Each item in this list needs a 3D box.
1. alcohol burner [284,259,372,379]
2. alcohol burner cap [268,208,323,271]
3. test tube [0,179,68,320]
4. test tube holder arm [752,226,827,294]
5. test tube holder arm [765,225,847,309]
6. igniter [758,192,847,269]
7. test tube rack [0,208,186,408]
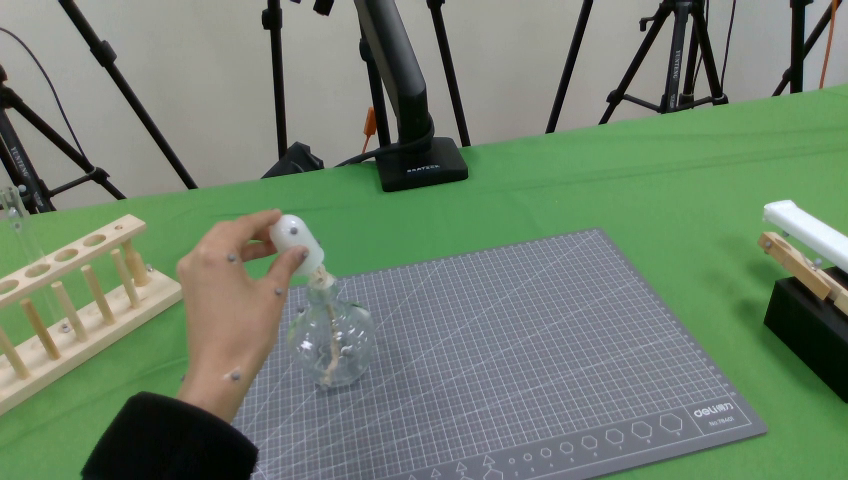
[{"bbox_3d":[-0.084,0.063,0.521,0.078,0.120,0.077,-2,37,2],"label":"alcohol burner"},{"bbox_3d":[-0.100,-0.003,0.466,0.034,0.048,0.033,-10,44,10],"label":"alcohol burner cap"},{"bbox_3d":[-0.369,0.013,0.573,0.017,0.151,0.017,-3,29,2],"label":"test tube"},{"bbox_3d":[0.322,0.016,0.532,0.010,0.015,0.087,-6,35,-12],"label":"test tube holder arm"},{"bbox_3d":[0.338,0.040,0.498,0.013,0.015,0.176,-7,35,-12],"label":"test tube holder arm"},{"bbox_3d":[0.381,0.029,0.501,0.057,0.025,0.273,-12,32,-7],"label":"igniter"},{"bbox_3d":[-0.362,0.069,0.580,0.066,0.086,0.242,21,43,32],"label":"test tube rack"}]
